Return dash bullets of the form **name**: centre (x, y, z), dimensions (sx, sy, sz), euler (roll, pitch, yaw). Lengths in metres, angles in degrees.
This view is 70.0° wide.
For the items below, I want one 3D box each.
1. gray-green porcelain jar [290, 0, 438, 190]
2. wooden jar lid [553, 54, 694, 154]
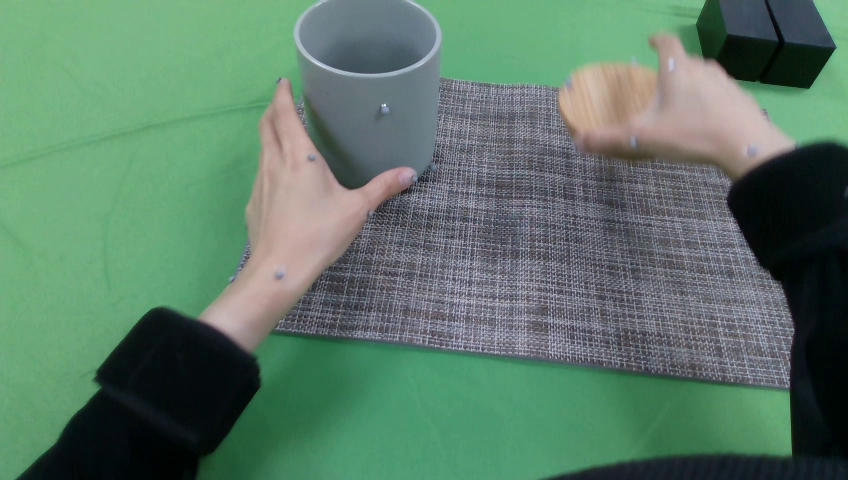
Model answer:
- **gray-green porcelain jar**: centre (-0.044, -0.111, 0.476), dimensions (0.106, 0.127, 0.105), euler (2, 52, -2)
- **wooden jar lid**: centre (0.153, -0.106, 0.473), dimensions (0.108, 0.021, 0.107), euler (1, 52, -1)
